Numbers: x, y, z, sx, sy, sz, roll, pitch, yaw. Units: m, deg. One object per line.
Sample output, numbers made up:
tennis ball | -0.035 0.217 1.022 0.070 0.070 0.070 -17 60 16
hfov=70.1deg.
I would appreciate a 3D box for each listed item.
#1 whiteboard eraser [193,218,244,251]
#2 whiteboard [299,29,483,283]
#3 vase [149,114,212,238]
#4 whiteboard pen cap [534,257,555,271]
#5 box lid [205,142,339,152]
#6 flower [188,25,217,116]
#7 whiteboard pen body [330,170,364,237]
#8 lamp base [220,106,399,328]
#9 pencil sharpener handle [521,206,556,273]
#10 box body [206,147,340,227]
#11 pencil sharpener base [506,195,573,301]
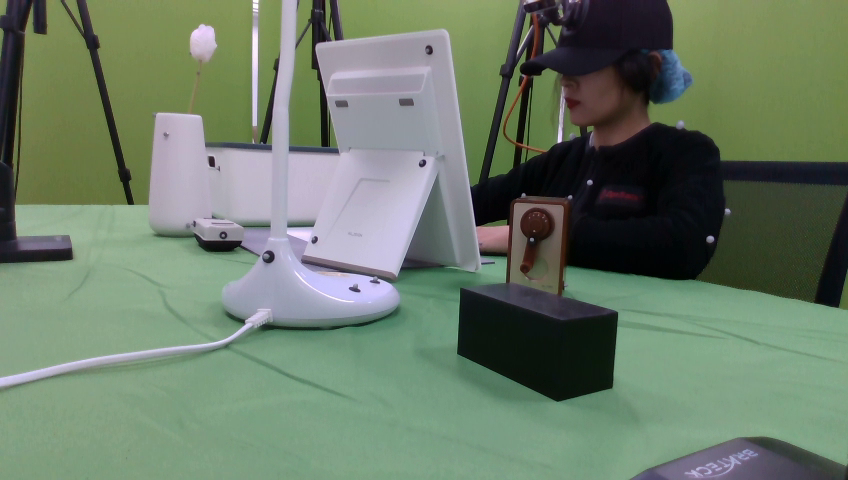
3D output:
whiteboard eraser | -0.307 -0.009 0.900 0.056 0.042 0.112 -4 11 -28
whiteboard | -0.074 -0.082 0.742 0.216 0.305 0.144 9 29 38
vase | -0.405 -0.106 1.005 0.098 0.200 0.098 2 6 0
whiteboard pen cap | 0.166 0.033 0.839 0.018 0.018 0.033 -1 6 -23
box lid | -0.270 -0.196 1.310 0.373 0.015 0.262 -2 9 -30
flower | -0.394 -0.189 1.011 0.044 0.361 0.038 -1 -13 27
whiteboard pen body | -0.139 -0.066 1.080 0.017 0.140 0.017 19 -22 8
lamp base | -0.101 -0.023 0.531 0.160 0.180 0.179 4 10 10
pencil sharpener handle | 0.111 0.000 0.613 0.036 0.067 0.031 13 10 14
box body | -0.276 -0.122 1.320 0.366 0.160 0.253 -2 9 -30
pencil sharpener base | 0.127 0.007 0.663 0.061 0.107 0.077 5 8 15
